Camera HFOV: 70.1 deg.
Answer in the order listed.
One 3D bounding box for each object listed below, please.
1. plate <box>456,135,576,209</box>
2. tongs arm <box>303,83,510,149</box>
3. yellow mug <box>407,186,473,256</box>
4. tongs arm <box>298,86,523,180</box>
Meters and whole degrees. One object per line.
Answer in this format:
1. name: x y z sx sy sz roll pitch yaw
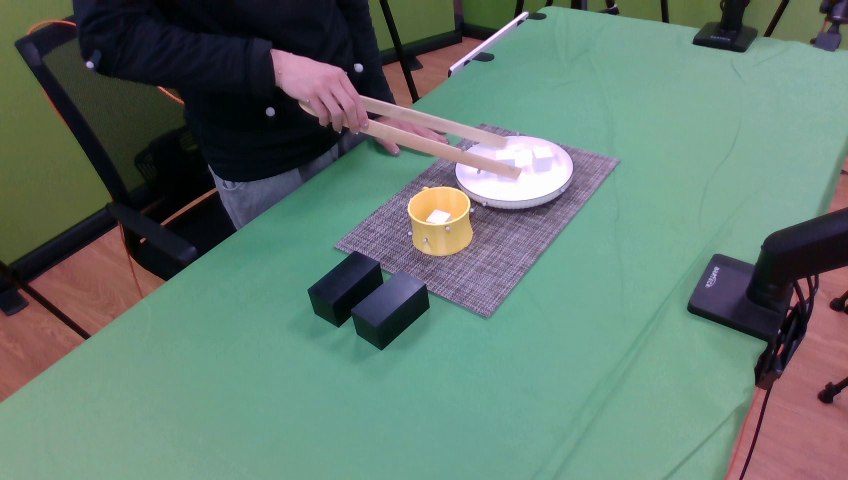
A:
1. plate: 0.161 -0.116 1.064 0.207 0.039 0.206 -4 40 4
2. tongs arm: -0.021 -0.206 1.028 0.390 0.028 0.028 10 44 -25
3. yellow mug: 0.021 -0.040 0.973 0.100 0.064 0.129 -19 41 -12
4. tongs arm: -0.014 -0.170 0.987 0.387 0.026 0.050 13 40 -21
